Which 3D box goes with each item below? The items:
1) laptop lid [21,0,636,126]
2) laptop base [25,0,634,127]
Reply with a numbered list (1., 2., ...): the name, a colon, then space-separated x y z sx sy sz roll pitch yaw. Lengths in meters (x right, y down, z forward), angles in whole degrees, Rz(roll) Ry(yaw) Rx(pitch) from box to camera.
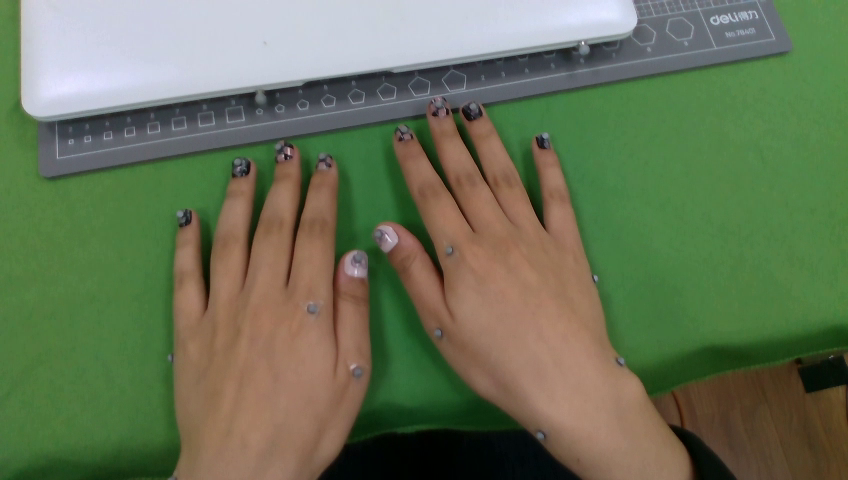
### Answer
1. laptop lid: -0.065 -0.199 0.374 0.357 0.013 0.240 -8 74 -5
2. laptop base: -0.066 -0.197 0.385 0.355 0.023 0.234 -10 75 -6
